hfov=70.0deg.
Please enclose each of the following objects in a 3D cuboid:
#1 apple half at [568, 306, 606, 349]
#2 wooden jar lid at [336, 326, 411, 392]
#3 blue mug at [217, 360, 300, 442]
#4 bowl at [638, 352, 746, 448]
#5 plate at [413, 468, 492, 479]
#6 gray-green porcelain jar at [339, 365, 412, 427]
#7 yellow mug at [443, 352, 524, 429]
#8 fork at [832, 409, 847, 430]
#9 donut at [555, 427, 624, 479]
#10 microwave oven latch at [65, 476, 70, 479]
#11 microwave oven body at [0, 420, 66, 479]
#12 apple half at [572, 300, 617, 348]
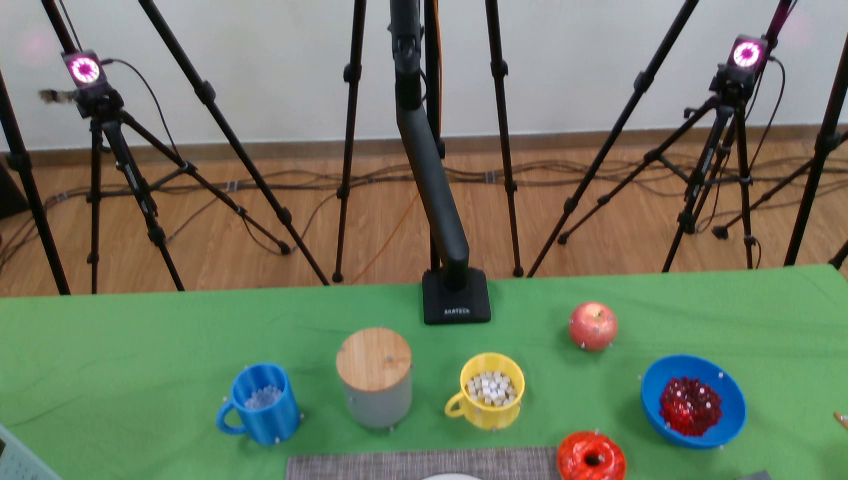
[{"bbox_3d":[0.264,0.155,1.013,0.033,0.082,0.080,-25,52,-27],"label":"apple half"},{"bbox_3d":[-0.073,0.174,0.879,0.108,0.021,0.107,-1,45,1],"label":"wooden jar lid"},{"bbox_3d":[-0.251,0.250,0.909,0.117,0.107,0.081,-22,51,-18],"label":"blue mug"},{"bbox_3d":[0.395,0.254,0.920,0.151,0.077,0.150,0,48,1],"label":"bowl"},{"bbox_3d":[0.039,0.410,0.801,0.208,0.039,0.205,0,48,0],"label":"plate"},{"bbox_3d":[-0.072,0.217,0.925,0.106,0.127,0.105,0,47,0],"label":"gray-green porcelain jar"},{"bbox_3d":[0.090,0.240,0.944,0.131,0.064,0.099,-20,51,-16],"label":"yellow mug"},{"bbox_3d":[0.618,0.300,0.827,0.208,0.018,0.028,47,52,-14],"label":"fork"},{"bbox_3d":[0.239,0.320,0.878,0.099,0.048,0.098,0,48,0],"label":"donut"},{"bbox_3d":[-0.505,0.365,0.825,0.030,0.030,0.078,1,48,1],"label":"microwave oven latch"},{"bbox_3d":[-0.650,0.433,0.631,0.326,0.262,0.437,-1,48,-1],"label":"microwave oven body"},{"bbox_3d":[0.295,0.139,1.030,0.053,0.075,0.080,-24,48,-27],"label":"apple half"}]
